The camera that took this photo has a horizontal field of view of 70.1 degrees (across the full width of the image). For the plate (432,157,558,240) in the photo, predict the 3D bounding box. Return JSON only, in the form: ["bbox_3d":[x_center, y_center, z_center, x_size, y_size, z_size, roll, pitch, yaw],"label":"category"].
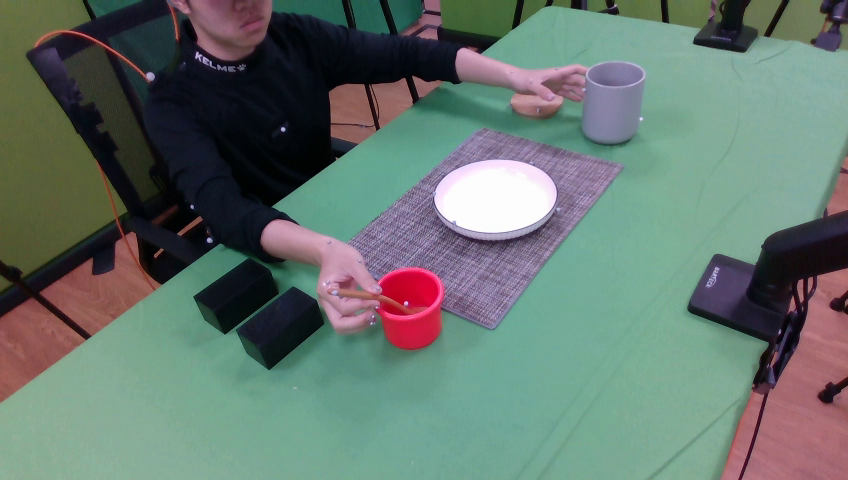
[{"bbox_3d":[0.118,-0.066,1.013,0.207,0.039,0.206,-4,41,4],"label":"plate"}]

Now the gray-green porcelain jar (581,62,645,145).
[{"bbox_3d":[0.350,-0.251,1.131,0.106,0.127,0.105,-4,41,4],"label":"gray-green porcelain jar"}]

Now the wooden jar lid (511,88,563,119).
[{"bbox_3d":[0.237,-0.286,1.272,0.108,0.021,0.108,-5,42,5],"label":"wooden jar lid"}]

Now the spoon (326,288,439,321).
[{"bbox_3d":[-0.050,0.081,0.780,0.041,0.195,0.021,23,89,44],"label":"spoon"}]
